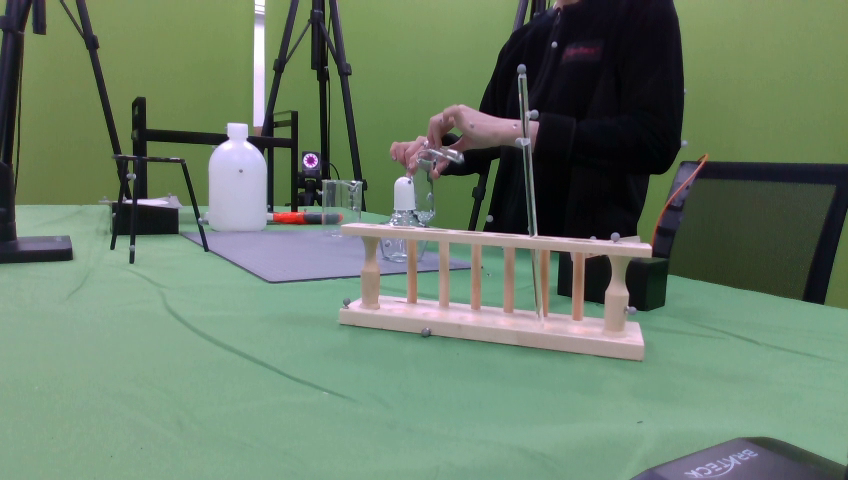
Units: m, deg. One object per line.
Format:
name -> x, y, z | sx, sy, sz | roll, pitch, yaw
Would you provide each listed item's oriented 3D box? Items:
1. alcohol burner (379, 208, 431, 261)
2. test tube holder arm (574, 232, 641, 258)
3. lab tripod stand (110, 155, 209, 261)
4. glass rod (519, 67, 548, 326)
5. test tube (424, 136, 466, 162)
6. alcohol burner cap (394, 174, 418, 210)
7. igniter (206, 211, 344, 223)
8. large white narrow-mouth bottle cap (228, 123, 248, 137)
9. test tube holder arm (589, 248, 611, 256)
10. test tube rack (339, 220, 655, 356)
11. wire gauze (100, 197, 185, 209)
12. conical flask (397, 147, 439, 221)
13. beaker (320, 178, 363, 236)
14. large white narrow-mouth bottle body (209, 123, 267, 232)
alcohol burner -> -0.027, -0.031, 0.838 | 0.078, 0.119, 0.078 | 0, 6, 0
test tube holder arm -> 0.202, 0.003, 0.651 | 0.013, 0.015, 0.179 | -4, 2, 36
lab tripod stand -> -0.361, -0.046, 0.806 | 0.148, 0.131, 0.148 | 2, 5, 0
glass rod -> 0.084, -0.029, 0.459 | 0.008, 0.199, 0.008 | -7, 11, 2
test tube -> 0.031, -0.140, 0.924 | 0.017, 0.017, 0.149 | -1, 18, -20
alcohol burner cap -> -0.026, -0.067, 0.833 | 0.034, 0.048, 0.034 | -1, 12, 1
igniter -> -0.302, -0.048, 1.249 | 0.278, 0.025, 0.057 | -2, -2, -26
large white narrow-mouth bottle cap -> -0.338, -0.199, 1.097 | 0.038, 0.024, 0.037 | 2, 8, 0
test tube holder arm -> 0.180, 0.006, 0.611 | 0.010, 0.015, 0.088 | -4, 2, 36
test tube rack -> 0.056, 0.032, 0.495 | 0.242, 0.085, 0.067 | 4, 7, 15
wire gauze -> -0.469, -0.062, 1.008 | 0.126, 0.011, 0.121 | -2, 8, -25
conical flask -> -0.005, -0.099, 1.033 | 0.075, 0.122, 0.075 | 9, 38, -7
beaker -> -0.145, -0.059, 1.079 | 0.074, 0.100, 0.083 | -4, 10, -36
large white narrow-mouth bottle body -> -0.340, -0.115, 1.109 | 0.102, 0.194, 0.102 | 2, 8, 0
